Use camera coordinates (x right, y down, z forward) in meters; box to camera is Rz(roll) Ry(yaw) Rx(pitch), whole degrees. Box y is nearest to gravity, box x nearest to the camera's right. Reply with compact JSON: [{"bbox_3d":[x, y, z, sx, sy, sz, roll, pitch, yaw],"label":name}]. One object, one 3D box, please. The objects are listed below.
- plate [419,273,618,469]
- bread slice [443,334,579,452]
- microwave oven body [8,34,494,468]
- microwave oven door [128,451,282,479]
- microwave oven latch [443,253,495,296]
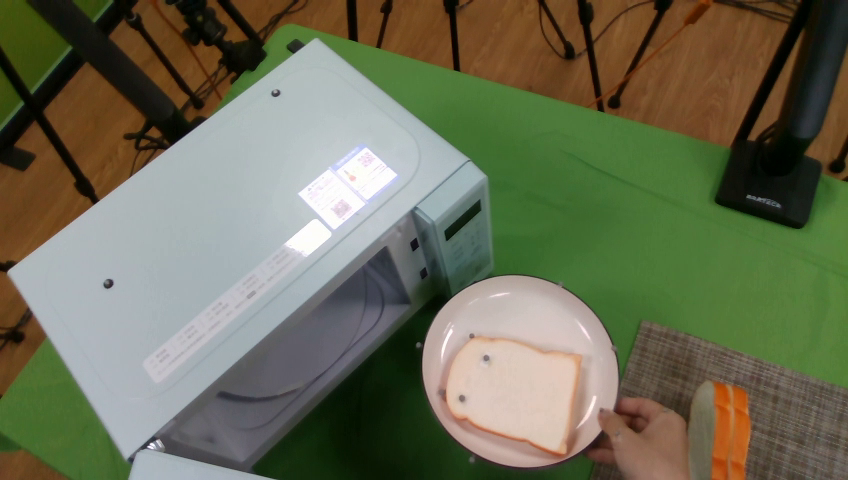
[{"bbox_3d":[0.099,0.137,0.648,0.207,0.039,0.206,-1,64,2],"label":"plate"},{"bbox_3d":[0.088,0.156,0.637,0.134,0.018,0.106,11,61,9],"label":"bread slice"},{"bbox_3d":[-0.181,0.025,0.751,0.441,0.262,0.323,-42,66,-12],"label":"microwave oven body"},{"bbox_3d":[-0.074,0.272,0.606,0.355,0.246,0.039,8,65,12],"label":"microwave oven door"},{"bbox_3d":[0.061,0.043,0.816,0.079,0.030,0.030,-41,66,-12],"label":"microwave oven latch"}]
